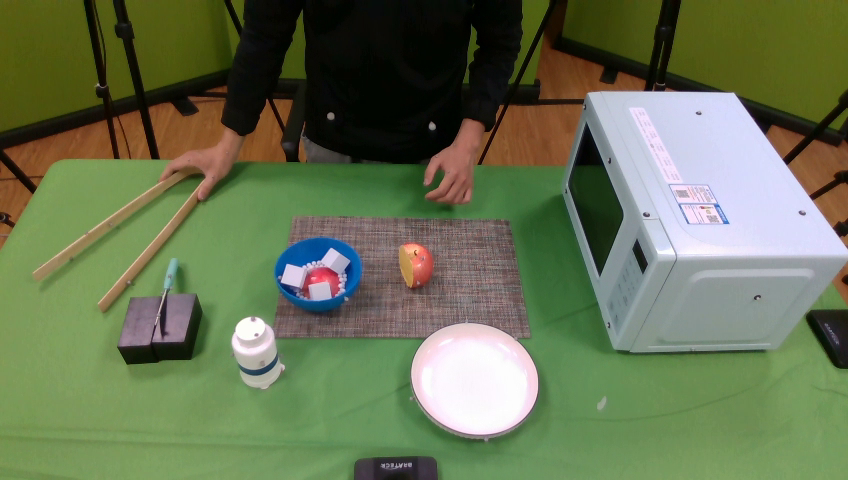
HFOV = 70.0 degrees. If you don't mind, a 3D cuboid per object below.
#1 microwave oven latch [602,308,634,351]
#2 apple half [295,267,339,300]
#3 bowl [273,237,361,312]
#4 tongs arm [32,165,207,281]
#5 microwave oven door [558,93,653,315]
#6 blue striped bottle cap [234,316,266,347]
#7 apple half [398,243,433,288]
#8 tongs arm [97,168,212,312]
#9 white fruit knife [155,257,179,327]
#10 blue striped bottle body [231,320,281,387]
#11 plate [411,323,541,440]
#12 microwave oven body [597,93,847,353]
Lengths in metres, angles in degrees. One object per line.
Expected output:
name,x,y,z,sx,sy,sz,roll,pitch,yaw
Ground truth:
microwave oven latch,0.332,0.153,1.044,0.030,0.029,0.078,-1,45,-4
apple half,-0.188,0.071,1.067,0.081,0.033,0.081,4,48,-4
bowl,-0.186,0.075,1.070,0.151,0.077,0.150,3,46,-3
tongs arm,-0.578,-0.042,1.186,0.050,0.026,0.384,24,48,16
microwave oven door,0.327,-0.074,1.123,0.039,0.245,0.353,-1,46,-5
blue striped bottle cap,-0.260,0.137,0.906,0.044,0.021,0.044,5,43,-5
apple half,-0.012,0.046,1.115,0.053,0.075,0.080,-11,44,-19
tongs arm,-0.506,-0.013,1.171,0.028,0.028,0.385,12,46,10
white fruit knife,-0.440,0.085,1.037,0.016,0.027,0.206,10,26,-19
blue striped bottle body,-0.262,0.171,0.944,0.063,0.121,0.062,2,46,-2
plate,0.082,0.228,0.976,0.208,0.039,0.206,2,45,-2
microwave oven body,0.475,-0.041,1.109,0.326,0.261,0.438,-1,45,-4
